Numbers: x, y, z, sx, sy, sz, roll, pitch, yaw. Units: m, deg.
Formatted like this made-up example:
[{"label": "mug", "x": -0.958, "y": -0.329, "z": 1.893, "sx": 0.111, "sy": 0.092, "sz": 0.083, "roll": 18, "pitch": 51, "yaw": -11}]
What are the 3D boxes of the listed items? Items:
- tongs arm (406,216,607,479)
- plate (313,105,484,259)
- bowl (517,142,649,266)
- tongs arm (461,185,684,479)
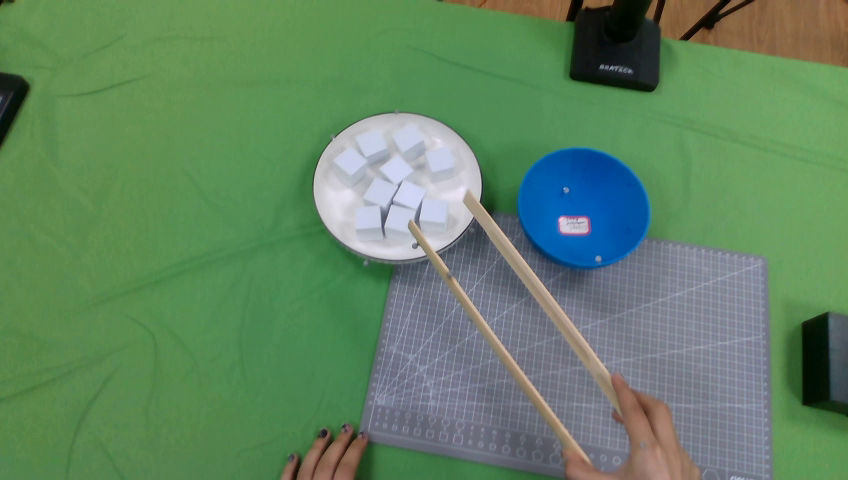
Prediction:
[{"label": "tongs arm", "x": 0.106, "y": 0.120, "z": 0.575, "sx": 0.051, "sy": 0.026, "sz": 0.382, "roll": -28, "pitch": 72, "yaw": -21}, {"label": "plate", "x": -0.030, "y": -0.069, "z": 0.749, "sx": 0.208, "sy": 0.039, "sz": 0.206, "roll": 0, "pitch": 68, "yaw": 0}, {"label": "bowl", "x": 0.179, "y": -0.031, "z": 0.718, "sx": 0.151, "sy": 0.077, "sz": 0.150, "roll": 1, "pitch": 69, "yaw": -2}, {"label": "tongs arm", "x": 0.141, "y": 0.101, "z": 0.590, "sx": 0.028, "sy": 0.028, "sz": 0.385, "roll": -25, "pitch": 71, "yaw": -24}]
